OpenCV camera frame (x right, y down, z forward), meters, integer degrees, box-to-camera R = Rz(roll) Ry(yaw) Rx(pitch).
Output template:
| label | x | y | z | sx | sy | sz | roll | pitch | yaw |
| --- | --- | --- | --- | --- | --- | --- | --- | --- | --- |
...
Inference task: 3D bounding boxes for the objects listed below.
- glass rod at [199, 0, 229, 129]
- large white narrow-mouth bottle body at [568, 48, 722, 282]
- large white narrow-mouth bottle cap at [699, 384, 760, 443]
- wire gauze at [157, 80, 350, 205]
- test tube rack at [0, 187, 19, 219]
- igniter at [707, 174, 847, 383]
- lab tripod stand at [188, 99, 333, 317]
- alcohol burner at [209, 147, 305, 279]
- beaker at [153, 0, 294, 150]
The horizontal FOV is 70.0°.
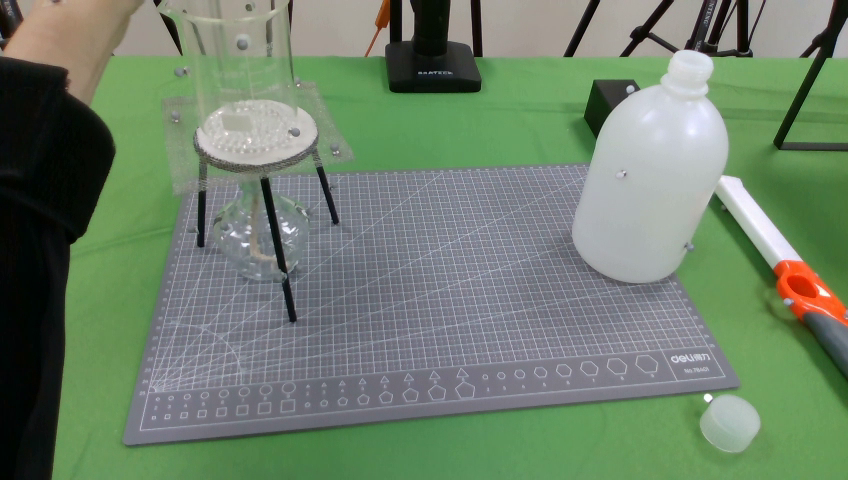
| label | x | y | z | sx | sy | sz | roll | pitch | yaw |
| --- | --- | --- | --- | --- | --- | --- | --- | --- | --- |
| glass rod | -0.137 | -0.164 | 0.369 | 0.008 | 0.201 | 0.008 | 0 | 29 | 0 |
| large white narrow-mouth bottle body | 0.188 | -0.063 | 0.506 | 0.102 | 0.196 | 0.101 | 2 | 43 | -1 |
| large white narrow-mouth bottle cap | 0.221 | 0.126 | 0.439 | 0.038 | 0.024 | 0.037 | 2 | 43 | -2 |
| wire gauze | -0.129 | -0.081 | 0.447 | 0.122 | 0.011 | 0.123 | -14 | 50 | -17 |
| test tube rack | -0.480 | -0.016 | 0.481 | 0.066 | 0.086 | 0.242 | 33 | 50 | 27 |
| igniter | 0.329 | 0.029 | 0.547 | 0.057 | 0.025 | 0.273 | 6 | 41 | -14 |
| lab tripod stand | -0.128 | -0.032 | 0.490 | 0.148 | 0.132 | 0.147 | 4 | 43 | -3 |
| alcohol burner | -0.138 | -0.026 | 0.498 | 0.078 | 0.120 | 0.077 | 4 | 41 | -3 |
| beaker | -0.131 | -0.119 | 0.415 | 0.084 | 0.101 | 0.073 | -8 | 46 | -13 |
